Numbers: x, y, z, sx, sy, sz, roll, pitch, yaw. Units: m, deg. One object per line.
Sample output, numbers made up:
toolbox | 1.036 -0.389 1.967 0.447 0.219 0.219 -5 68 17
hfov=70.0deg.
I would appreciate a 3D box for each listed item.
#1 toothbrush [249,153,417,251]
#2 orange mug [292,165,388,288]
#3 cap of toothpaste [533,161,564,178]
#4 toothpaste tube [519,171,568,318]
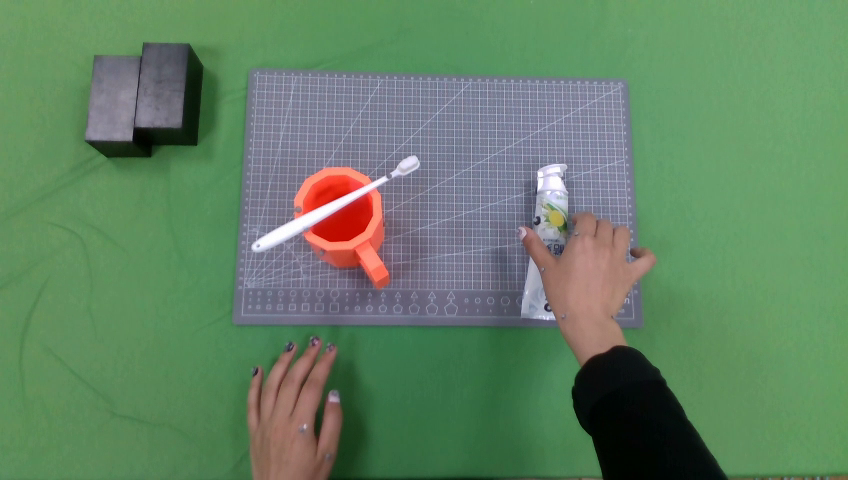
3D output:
toothbrush | -0.086 -0.037 0.582 0.182 0.017 0.014 -30 85 -8
orange mug | -0.078 -0.008 0.630 0.083 0.101 0.125 -33 77 -9
cap of toothpaste | 0.142 -0.078 0.687 0.037 0.037 0.011 -8 75 -5
toothpaste tube | 0.136 0.003 0.676 0.055 0.034 0.164 2 82 4
